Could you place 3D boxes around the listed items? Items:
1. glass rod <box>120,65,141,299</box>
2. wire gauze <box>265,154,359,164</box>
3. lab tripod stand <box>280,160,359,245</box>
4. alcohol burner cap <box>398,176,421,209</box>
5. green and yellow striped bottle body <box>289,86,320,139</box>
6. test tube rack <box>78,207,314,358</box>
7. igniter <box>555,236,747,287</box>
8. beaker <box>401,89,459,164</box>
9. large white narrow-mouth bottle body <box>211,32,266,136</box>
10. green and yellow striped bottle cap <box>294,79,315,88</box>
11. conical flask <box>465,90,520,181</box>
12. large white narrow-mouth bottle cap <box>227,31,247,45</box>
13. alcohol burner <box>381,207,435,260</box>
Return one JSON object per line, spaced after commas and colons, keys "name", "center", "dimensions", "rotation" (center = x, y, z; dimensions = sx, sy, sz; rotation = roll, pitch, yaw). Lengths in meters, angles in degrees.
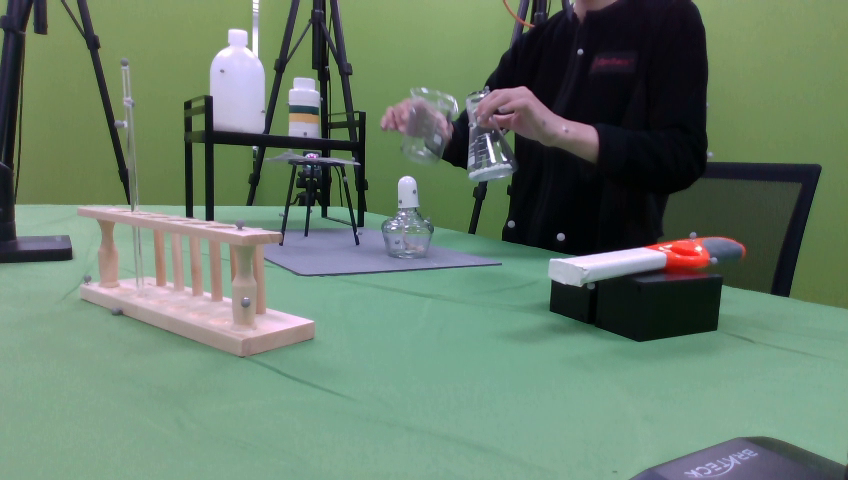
{"name": "glass rod", "center": [-0.248, -0.047, 0.512], "dimensions": [0.008, 0.199, 0.008], "rotation": [-1, 3, 0]}
{"name": "wire gauze", "center": [-0.181, -0.129, 0.969], "dimensions": [0.126, 0.011, 0.121], "rotation": [-1, 7, -27]}
{"name": "lab tripod stand", "center": [-0.176, -0.062, 0.973], "dimensions": [0.148, 0.131, 0.148], "rotation": [1, 7, 0]}
{"name": "alcohol burner cap", "center": [-0.023, -0.068, 0.866], "dimensions": [0.034, 0.048, 0.034], "rotation": [-5, 8, 1]}
{"name": "green and yellow striped bottle body", "center": [-0.250, -0.272, 1.261], "dimensions": [0.063, 0.119, 0.063], "rotation": [3, 7, 0]}
{"name": "test tube rack", "center": [-0.196, 0.024, 0.500], "dimensions": [0.241, 0.085, 0.067], "rotation": [8, 8, 37]}
{"name": "igniter", "center": [0.221, 0.017, 0.558], "dimensions": [0.278, 0.025, 0.057], "rotation": [-5, 15, -39]}
{"name": "beaker", "center": [0.008, -0.177, 0.956], "dimensions": [0.083, 0.100, 0.074], "rotation": [29, 31, 23]}
{"name": "large white narrow-mouth bottle body", "center": [-0.361, -0.303, 1.176], "dimensions": [0.102, 0.194, 0.102], "rotation": [1, 7, 0]}
{"name": "green and yellow striped bottle cap", "center": [-0.248, -0.323, 1.256], "dimensions": [0.045, 0.020, 0.045], "rotation": [3, 9, 0]}
{"name": "conical flask", "center": [0.088, -0.149, 0.858], "dimensions": [0.075, 0.121, 0.075], "rotation": [-12, -5, -1]}
{"name": "large white narrow-mouth bottle cap", "center": [-0.361, -0.387, 1.166], "dimensions": [0.038, 0.024, 0.037], "rotation": [1, 7, 0]}
{"name": "alcohol burner", "center": [-0.023, -0.032, 0.871], "dimensions": [0.078, 0.119, 0.078], "rotation": [0, 6, 0]}
